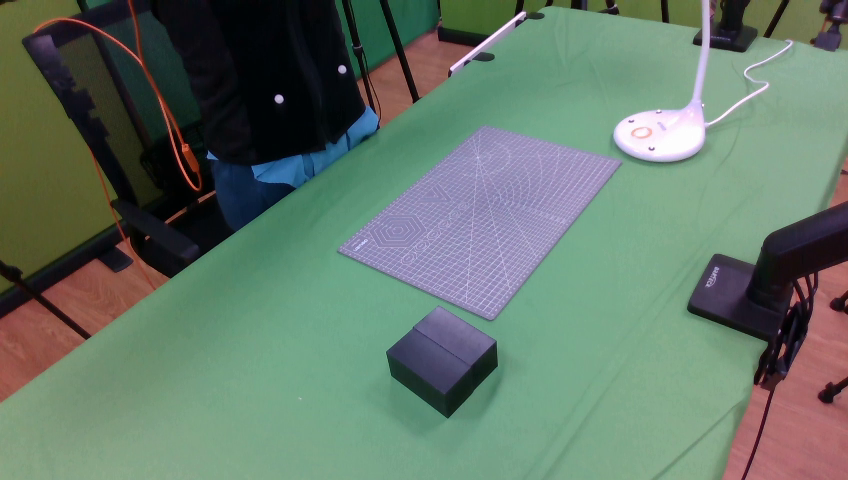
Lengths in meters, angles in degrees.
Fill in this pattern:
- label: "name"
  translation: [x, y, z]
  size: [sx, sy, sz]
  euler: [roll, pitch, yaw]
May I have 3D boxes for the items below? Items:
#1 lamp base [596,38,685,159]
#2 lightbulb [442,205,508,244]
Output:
- label: "lamp base"
  translation: [0.408, -0.264, 1.094]
  size: [0.180, 0.181, 0.159]
  euler: [-29, 45, -27]
- label: "lightbulb"
  translation: [0.080, -0.019, 0.955]
  size: [0.107, 0.059, 0.059]
  euler: [18, 44, 5]
